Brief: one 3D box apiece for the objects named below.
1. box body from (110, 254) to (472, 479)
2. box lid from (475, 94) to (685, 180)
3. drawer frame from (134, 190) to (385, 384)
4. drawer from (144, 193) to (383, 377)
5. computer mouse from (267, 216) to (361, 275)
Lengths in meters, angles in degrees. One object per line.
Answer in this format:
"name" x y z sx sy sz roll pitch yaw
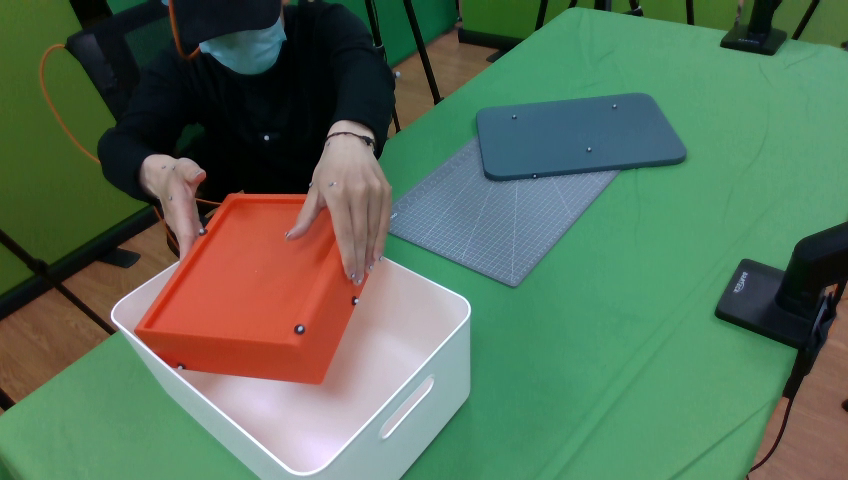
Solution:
"box body" -0.147 0.135 0.727 0.361 0.161 0.255 25 50 32
"box lid" 0.288 -0.207 1.181 0.371 0.015 0.262 -5 40 2
"drawer frame" -0.172 0.042 0.679 0.201 0.083 0.213 2 47 18
"drawer" -0.172 0.041 0.683 0.193 0.073 0.211 2 48 19
"computer mouse" -0.135 0.006 0.736 0.117 0.041 0.062 -10 44 6
